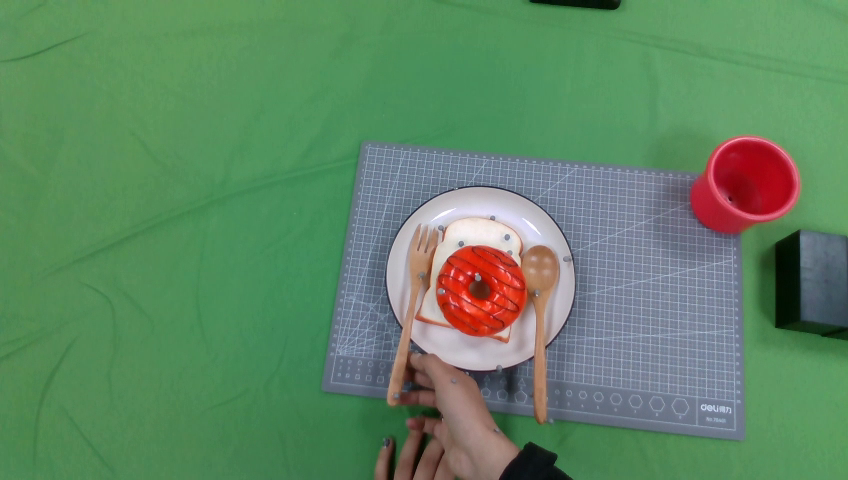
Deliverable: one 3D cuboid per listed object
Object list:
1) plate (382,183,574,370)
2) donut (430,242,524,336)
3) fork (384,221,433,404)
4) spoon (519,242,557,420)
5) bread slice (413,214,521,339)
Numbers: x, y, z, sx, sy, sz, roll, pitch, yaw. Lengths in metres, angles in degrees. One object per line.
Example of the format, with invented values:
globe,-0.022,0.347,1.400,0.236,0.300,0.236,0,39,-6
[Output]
plate,0.058,0.040,0.668,0.209,0.038,0.208,0,74,0
donut,0.055,0.051,0.636,0.099,0.048,0.098,0,78,-1
fork,-0.017,0.071,0.647,0.028,0.019,0.206,15,62,-9
spoon,0.119,0.091,0.638,0.041,0.022,0.192,3,61,7
bread slice,0.053,0.034,0.672,0.105,0.019,0.131,12,76,3
